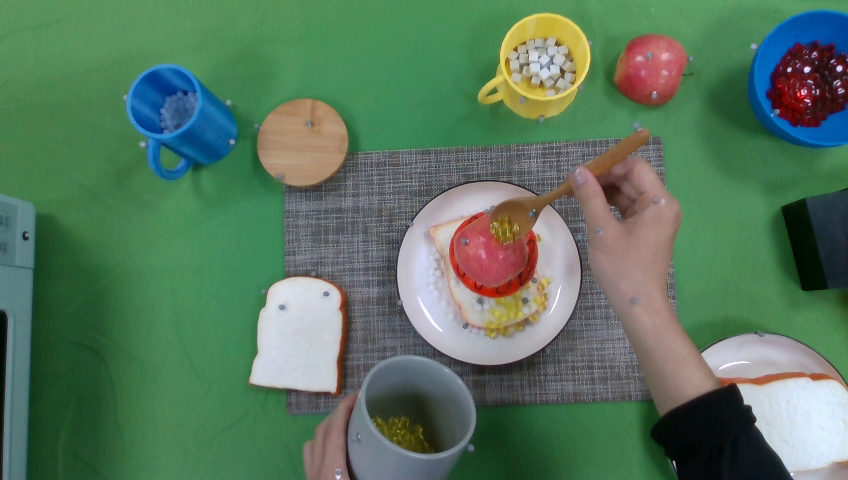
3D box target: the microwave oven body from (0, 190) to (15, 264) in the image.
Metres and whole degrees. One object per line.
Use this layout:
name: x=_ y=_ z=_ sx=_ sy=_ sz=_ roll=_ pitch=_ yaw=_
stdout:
microwave oven body: x=-0.621 y=0.156 z=0.587 sx=0.326 sy=0.261 sz=0.440 roll=-3 pitch=84 yaw=2

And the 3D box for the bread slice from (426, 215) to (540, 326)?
bread slice: x=0.074 y=0.030 z=0.687 sx=0.107 sy=0.018 sz=0.134 roll=-20 pitch=83 yaw=0

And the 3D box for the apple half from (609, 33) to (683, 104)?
apple half: x=0.259 y=-0.204 z=0.700 sx=0.074 sy=0.053 sz=0.080 roll=19 pitch=85 yaw=7

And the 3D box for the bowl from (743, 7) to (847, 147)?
bowl: x=0.422 y=-0.170 z=0.676 sx=0.151 sy=0.077 sz=0.151 roll=0 pitch=84 yaw=3

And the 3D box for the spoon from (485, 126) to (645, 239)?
spoon: x=0.117 y=-0.045 z=0.529 sx=0.042 sy=0.193 sz=0.021 roll=44 pitch=56 yaw=-8

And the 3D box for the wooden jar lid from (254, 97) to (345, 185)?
wooden jar lid: x=-0.146 y=-0.116 z=0.720 sx=0.108 sy=0.021 sz=0.108 roll=-1 pitch=80 yaw=3

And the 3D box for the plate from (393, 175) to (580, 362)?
plate: x=0.069 y=0.032 z=0.685 sx=0.207 sy=0.039 sz=0.207 roll=0 pitch=84 yaw=3

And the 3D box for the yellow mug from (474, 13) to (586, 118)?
yellow mug: x=0.117 y=-0.192 z=0.698 sx=0.131 sy=0.064 sz=0.099 roll=-27 pitch=83 yaw=0

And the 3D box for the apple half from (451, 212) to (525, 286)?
apple half: x=0.068 y=0.007 z=0.623 sx=0.081 sy=0.033 sz=0.081 roll=-1 pitch=81 yaw=9

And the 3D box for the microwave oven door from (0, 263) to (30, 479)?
microwave oven door: x=-0.475 y=0.192 z=0.572 sx=0.039 sy=0.244 sz=0.354 roll=-3 pitch=83 yaw=2

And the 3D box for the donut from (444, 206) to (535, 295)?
donut: x=0.072 y=0.012 z=0.659 sx=0.099 sy=0.048 sz=0.099 roll=0 pitch=84 yaw=3

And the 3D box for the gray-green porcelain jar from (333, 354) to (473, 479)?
gray-green porcelain jar: x=-0.025 y=0.186 z=0.563 sx=0.105 sy=0.105 sz=0.127 roll=27 pitch=127 yaw=6

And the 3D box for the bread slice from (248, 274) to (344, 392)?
bread slice: x=-0.146 y=0.105 z=0.696 sx=0.105 sy=0.019 sz=0.131 roll=5 pitch=85 yaw=2

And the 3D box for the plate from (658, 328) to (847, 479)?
plate: x=0.356 y=0.200 z=0.657 sx=0.209 sy=0.038 sz=0.208 roll=0 pitch=83 yaw=3

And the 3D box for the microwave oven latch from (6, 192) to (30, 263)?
microwave oven latch: x=-0.476 y=-0.014 z=0.697 sx=0.030 sy=0.029 sz=0.079 roll=1 pitch=84 yaw=2

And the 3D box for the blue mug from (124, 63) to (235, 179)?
blue mug: x=-0.278 y=-0.125 z=0.686 sx=0.082 sy=0.106 sz=0.116 roll=18 pitch=84 yaw=5
